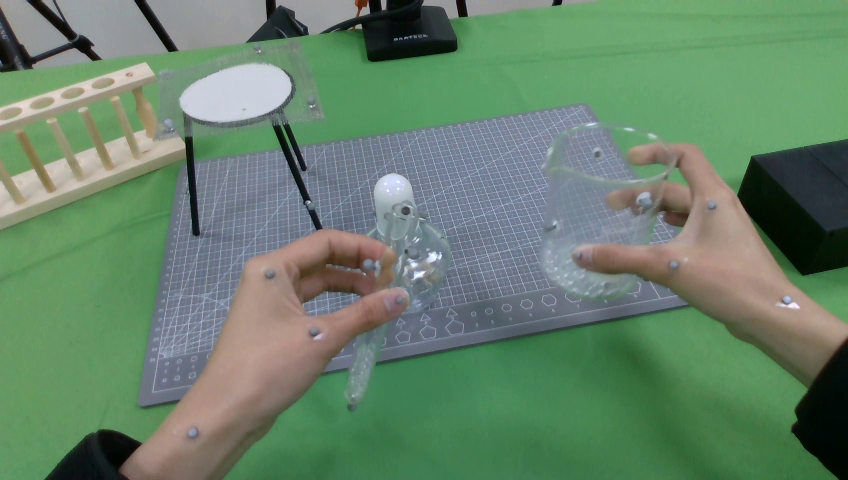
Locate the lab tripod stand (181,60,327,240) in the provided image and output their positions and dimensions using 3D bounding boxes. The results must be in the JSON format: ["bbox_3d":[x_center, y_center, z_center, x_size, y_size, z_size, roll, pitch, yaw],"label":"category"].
[{"bbox_3d":[-0.148,-0.074,0.527,0.148,0.133,0.147,-2,47,3],"label":"lab tripod stand"}]

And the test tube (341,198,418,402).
[{"bbox_3d":[-0.029,0.042,0.351,0.017,0.151,0.017,12,34,-8],"label":"test tube"}]

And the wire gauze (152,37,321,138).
[{"bbox_3d":[-0.152,-0.122,0.480,0.125,0.011,0.120,-14,45,-9],"label":"wire gauze"}]

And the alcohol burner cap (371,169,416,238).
[{"bbox_3d":[-0.024,-0.029,0.435,0.034,0.048,0.033,-3,47,3],"label":"alcohol burner cap"}]

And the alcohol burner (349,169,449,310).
[{"bbox_3d":[-0.020,-0.003,0.460,0.078,0.120,0.077,-2,43,2],"label":"alcohol burner"}]

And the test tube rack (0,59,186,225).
[{"bbox_3d":[-0.373,-0.091,0.599,0.242,0.086,0.066,-27,49,-22],"label":"test tube rack"}]

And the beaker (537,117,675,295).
[{"bbox_3d":[0.112,-0.019,0.401,0.084,0.101,0.073,-9,39,-10],"label":"beaker"}]
